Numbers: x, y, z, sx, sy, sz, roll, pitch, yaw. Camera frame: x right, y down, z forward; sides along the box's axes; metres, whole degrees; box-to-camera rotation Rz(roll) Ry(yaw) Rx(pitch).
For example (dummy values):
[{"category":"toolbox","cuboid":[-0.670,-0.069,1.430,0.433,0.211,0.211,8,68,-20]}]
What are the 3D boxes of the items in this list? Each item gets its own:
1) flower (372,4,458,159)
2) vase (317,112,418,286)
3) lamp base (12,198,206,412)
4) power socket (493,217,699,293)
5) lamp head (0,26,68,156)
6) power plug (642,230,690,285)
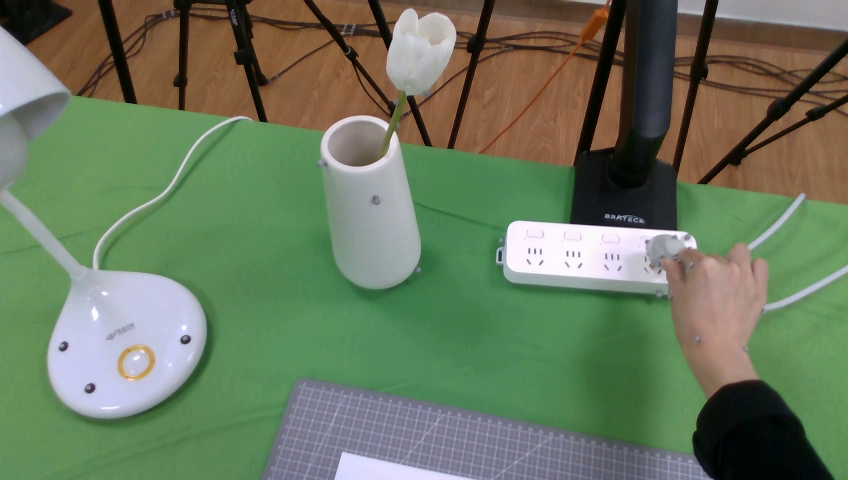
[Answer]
[{"category":"flower","cuboid":[-0.043,-0.071,0.542,0.044,0.363,0.038,-27,77,-25]},{"category":"vase","cuboid":[-0.059,-0.036,0.618,0.098,0.202,0.097,-1,56,2]},{"category":"lamp base","cuboid":[-0.322,0.052,0.577,0.160,0.182,0.177,-39,61,-22]},{"category":"power socket","cuboid":[0.192,0.016,0.678,0.226,0.033,0.071,5,58,4]},{"category":"lamp head","cuboid":[-0.282,-0.094,0.326,0.123,0.112,0.112,50,64,-14]},{"category":"power plug","cuboid":[0.245,0.022,0.627,0.035,0.053,0.072,7,59,2]}]
